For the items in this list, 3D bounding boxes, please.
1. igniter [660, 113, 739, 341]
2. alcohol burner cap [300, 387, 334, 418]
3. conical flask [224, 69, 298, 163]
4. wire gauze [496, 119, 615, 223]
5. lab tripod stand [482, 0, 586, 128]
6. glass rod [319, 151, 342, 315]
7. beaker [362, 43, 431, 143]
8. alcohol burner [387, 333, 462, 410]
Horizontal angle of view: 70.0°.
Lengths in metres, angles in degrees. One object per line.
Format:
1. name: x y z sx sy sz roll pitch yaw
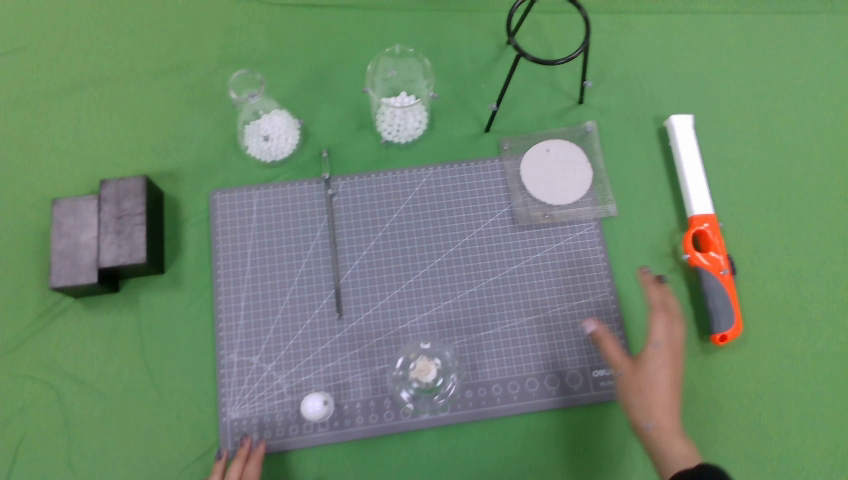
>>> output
1. igniter: 0.320 -0.021 0.708 0.057 0.025 0.275 -3 75 -13
2. alcohol burner cap: -0.113 0.168 0.630 0.034 0.048 0.033 1 74 -2
3. conical flask: -0.187 -0.142 0.674 0.075 0.122 0.075 1 74 -1
4. wire gauze: 0.157 -0.083 0.727 0.125 0.011 0.120 -8 75 -4
5. lab tripod stand: 0.123 -0.206 0.697 0.148 0.132 0.147 1 76 -2
6. glass rod: -0.108 -0.012 0.696 0.008 0.008 0.198 -8 75 -4
7. beaker: -0.032 -0.165 0.699 0.074 0.101 0.083 -5 73 -3
8. alcohol burner: 0.001 0.131 0.607 0.078 0.119 0.077 0 76 -2
